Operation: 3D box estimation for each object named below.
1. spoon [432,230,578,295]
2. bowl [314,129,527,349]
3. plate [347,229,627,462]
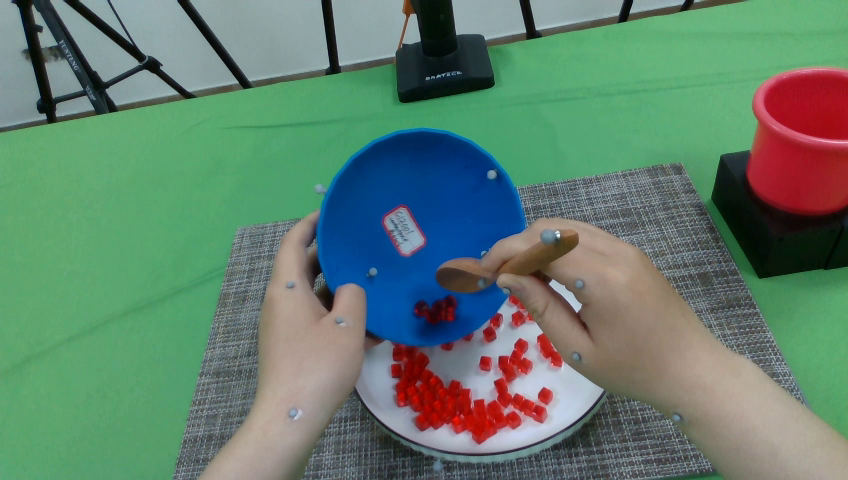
[{"bbox_3d":[0.042,0.017,0.344,0.042,0.193,0.021,15,80,-10],"label":"spoon"},{"bbox_3d":[-0.009,-0.002,0.447,0.151,0.152,0.076,-26,11,-14],"label":"bowl"},{"bbox_3d":[0.046,0.074,0.465,0.207,0.039,0.205,-6,46,7],"label":"plate"}]
